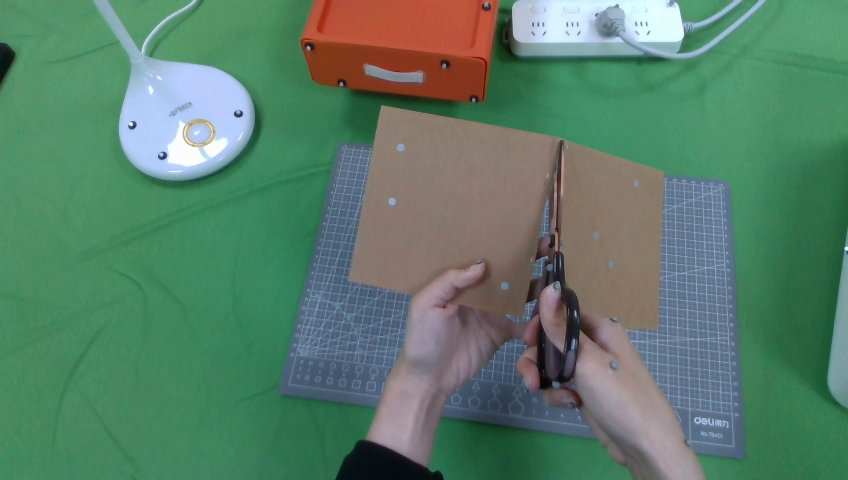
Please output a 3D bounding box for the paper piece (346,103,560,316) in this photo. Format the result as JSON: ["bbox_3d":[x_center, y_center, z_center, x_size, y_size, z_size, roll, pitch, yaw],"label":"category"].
[{"bbox_3d":[0.018,-0.023,0.445,0.135,0.008,0.138,12,97,10],"label":"paper piece"}]

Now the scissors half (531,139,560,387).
[{"bbox_3d":[0.087,0.014,0.424,0.013,0.040,0.175,6,87,0],"label":"scissors half"}]

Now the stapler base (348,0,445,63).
[{"bbox_3d":[-0.036,-0.255,0.709,0.129,0.024,0.041,36,88,19],"label":"stapler base"}]

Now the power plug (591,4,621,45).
[{"bbox_3d":[0.217,-0.251,0.728,0.035,0.053,0.072,11,67,7],"label":"power plug"}]

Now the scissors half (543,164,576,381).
[{"bbox_3d":[0.088,0.007,0.402,0.013,0.040,0.173,7,58,-5],"label":"scissors half"}]

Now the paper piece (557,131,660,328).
[{"bbox_3d":[0.143,-0.002,0.468,0.136,0.004,0.135,10,84,-37],"label":"paper piece"}]

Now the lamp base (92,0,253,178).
[{"bbox_3d":[-0.299,-0.184,0.661,0.178,0.182,0.160,38,72,20],"label":"lamp base"}]

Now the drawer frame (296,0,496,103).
[{"bbox_3d":[-0.019,-0.275,0.697,0.201,0.083,0.212,7,66,6],"label":"drawer frame"}]

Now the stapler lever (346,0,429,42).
[{"bbox_3d":[-0.044,-0.261,0.685,0.117,0.040,0.027,36,88,20],"label":"stapler lever"}]

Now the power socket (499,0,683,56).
[{"bbox_3d":[0.209,-0.268,0.761,0.227,0.033,0.071,1,67,2],"label":"power socket"}]

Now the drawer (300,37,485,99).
[{"bbox_3d":[-0.018,-0.273,0.696,0.194,0.074,0.210,8,66,6],"label":"drawer"}]

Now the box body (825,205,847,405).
[{"bbox_3d":[0.547,0.012,0.553,0.253,0.161,0.362,19,68,10],"label":"box body"}]
